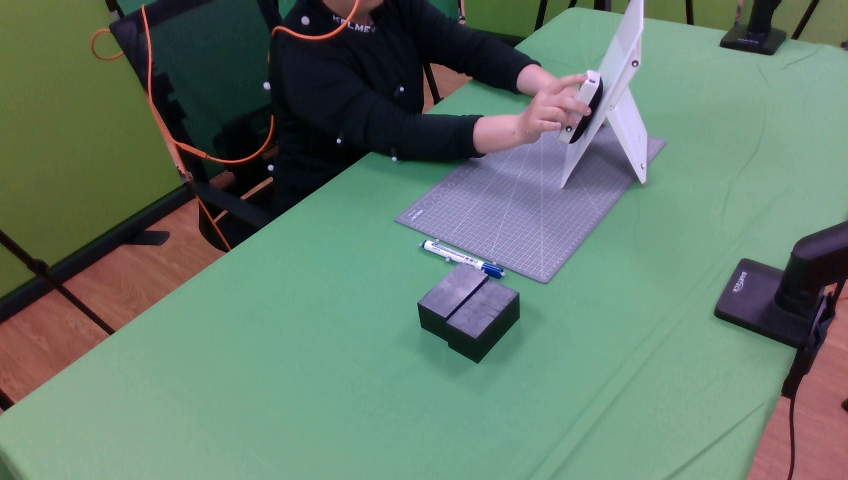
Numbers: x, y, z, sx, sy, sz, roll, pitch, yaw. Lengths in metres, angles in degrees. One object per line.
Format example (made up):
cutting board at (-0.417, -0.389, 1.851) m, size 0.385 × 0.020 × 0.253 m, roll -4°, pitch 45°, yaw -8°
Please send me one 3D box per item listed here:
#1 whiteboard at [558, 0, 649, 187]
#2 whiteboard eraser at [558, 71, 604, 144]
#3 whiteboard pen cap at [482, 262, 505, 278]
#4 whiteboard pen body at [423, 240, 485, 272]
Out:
whiteboard at (0.361, -0.238, 1.026) m, size 0.144 × 0.306 × 0.217 m, roll 20°, pitch 44°, yaw 3°
whiteboard eraser at (0.259, -0.215, 0.990) m, size 0.042 × 0.113 × 0.055 m, roll 24°, pitch 41°, yaw 6°
whiteboard pen cap at (0.104, 0.044, 0.912) m, size 0.033 × 0.018 × 0.018 m, roll 21°, pitch 48°, yaw 29°
whiteboard pen body at (0.057, 0.027, 0.942) m, size 0.139 × 0.017 × 0.017 m, roll 22°, pitch 48°, yaw 30°
